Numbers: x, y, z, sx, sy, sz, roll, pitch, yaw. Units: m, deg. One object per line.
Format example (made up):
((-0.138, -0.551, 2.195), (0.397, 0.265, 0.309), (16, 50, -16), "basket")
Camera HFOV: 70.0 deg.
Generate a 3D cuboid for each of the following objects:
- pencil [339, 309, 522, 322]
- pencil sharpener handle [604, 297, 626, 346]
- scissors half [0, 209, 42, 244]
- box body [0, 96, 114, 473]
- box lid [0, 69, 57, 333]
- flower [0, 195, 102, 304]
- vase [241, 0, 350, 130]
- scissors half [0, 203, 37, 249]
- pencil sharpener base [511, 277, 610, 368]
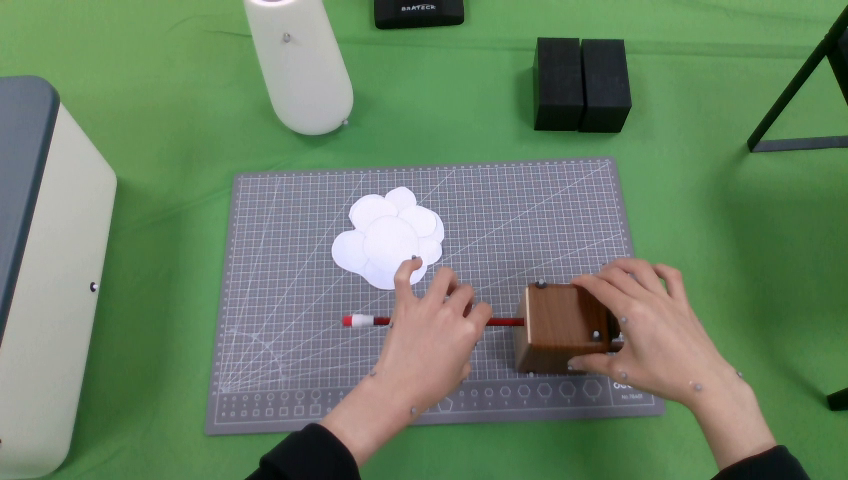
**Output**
((0.019, 0.069, 0.551), (0.194, 0.012, 0.012), (0, 65, 0), "pencil")
((0.177, 0.079, 0.560), (0.030, 0.068, 0.035), (1, 54, 2), "pencil sharpener handle")
((-0.511, 0.009, 0.662), (0.175, 0.040, 0.012), (-28, 36, -13), "scissors half")
((-0.471, 0.039, 0.580), (0.254, 0.161, 0.361), (-4, 65, 0), "box body")
((-0.474, 0.005, 0.512), (0.263, 0.015, 0.368), (-3, 65, -2), "box lid")
((-0.468, 0.070, 0.658), (0.038, 0.044, 0.359), (-10, 39, 33), "flower")
((-0.141, -0.211, 0.667), (0.098, 0.201, 0.097), (-1, 64, 3), "vase")
((-0.506, 0.019, 0.670), (0.175, 0.040, 0.012), (-35, 31, -6), "scissors half")
((0.126, 0.081, 0.573), (0.077, 0.108, 0.061), (1, 65, 2), "pencil sharpener base")
